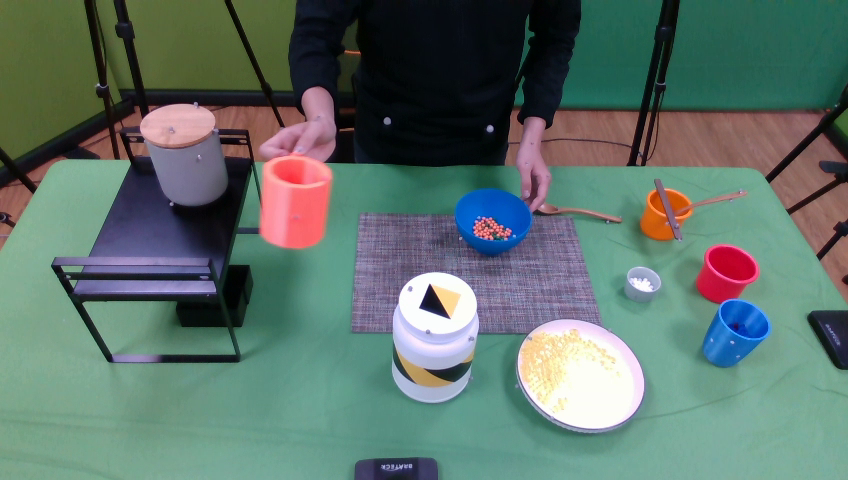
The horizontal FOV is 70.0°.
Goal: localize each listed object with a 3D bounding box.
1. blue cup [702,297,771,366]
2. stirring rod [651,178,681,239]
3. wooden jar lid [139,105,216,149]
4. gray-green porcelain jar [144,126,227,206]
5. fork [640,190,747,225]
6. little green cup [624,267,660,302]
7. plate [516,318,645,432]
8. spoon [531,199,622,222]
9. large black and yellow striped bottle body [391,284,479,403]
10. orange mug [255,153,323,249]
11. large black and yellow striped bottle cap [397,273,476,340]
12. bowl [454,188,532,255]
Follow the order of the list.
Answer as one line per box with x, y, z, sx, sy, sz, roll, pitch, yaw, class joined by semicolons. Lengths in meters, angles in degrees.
0.519;0.162;1.025;0.093;0.101;0.092;3;45;-3;blue cup
0.479;-0.065;1.204;0.014;0.006;0.175;2;46;-3;stirring rod
-0.372;-0.169;0.920;0.108;0.021;0.107;4;44;-4;wooden jar lid
-0.375;-0.125;0.967;0.106;0.127;0.105;2;46;-2;gray-green porcelain jar
0.533;-0.065;1.211;0.207;0.019;0.028;-22;28;39;fork
0.406;0.084;1.135;0.061;0.039;0.061;3;45;-3;little green cup
0.253;0.221;0.992;0.209;0.038;0.208;2;46;-2;plate
0.321;-0.060;1.279;0.194;0.022;0.041;8;31;4;spoon
0.015;0.153;0.938;0.131;0.185;0.130;2;46;-2;large black and yellow striped bottle body
-0.186;-0.062;0.833;0.083;0.101;0.125;3;38;-14;orange mug
0.018;0.094;0.878;0.115;0.019;0.114;3;46;-3;large black and yellow striped bottle cap
0.130;-0.024;1.186;0.151;0.077;0.150;3;45;-3;bowl
